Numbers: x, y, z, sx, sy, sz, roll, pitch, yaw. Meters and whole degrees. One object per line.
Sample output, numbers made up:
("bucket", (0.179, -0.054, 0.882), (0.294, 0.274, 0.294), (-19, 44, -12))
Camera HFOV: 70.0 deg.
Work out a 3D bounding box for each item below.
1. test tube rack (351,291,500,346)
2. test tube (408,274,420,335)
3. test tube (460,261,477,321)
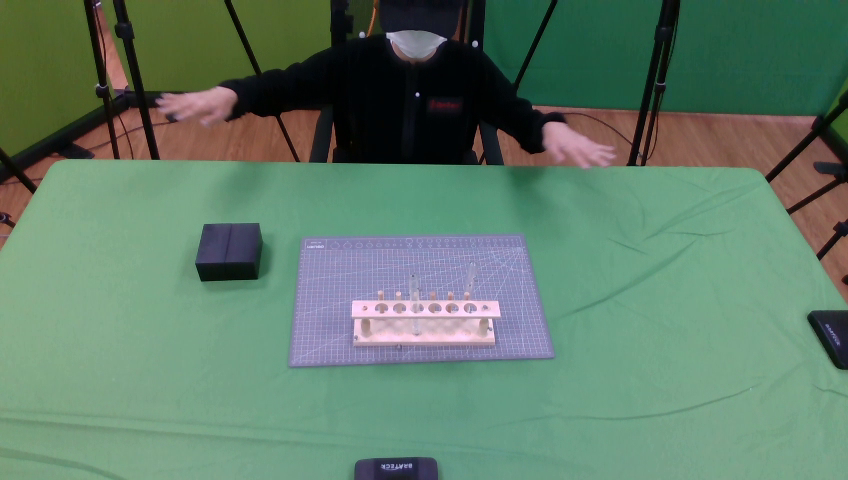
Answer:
("test tube rack", (0.000, 0.129, 1.026), (0.242, 0.085, 0.066), (1, 46, -4))
("test tube", (-0.016, 0.107, 0.977), (0.017, 0.151, 0.017), (0, 48, 1))
("test tube", (0.073, 0.087, 1.010), (0.017, 0.151, 0.017), (2, 47, -2))
